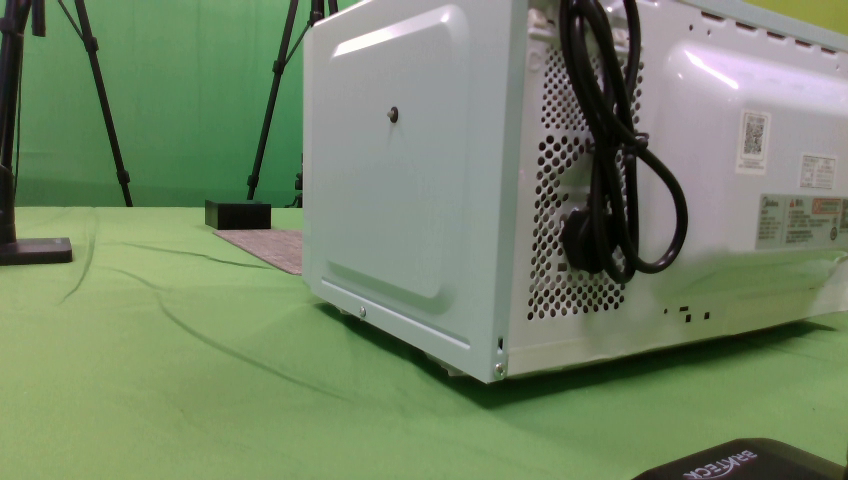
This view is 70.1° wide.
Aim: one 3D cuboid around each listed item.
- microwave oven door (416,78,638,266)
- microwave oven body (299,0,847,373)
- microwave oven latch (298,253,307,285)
[{"bbox_3d":[0.131,-0.105,0.891,0.354,0.243,0.039,9,10,42],"label":"microwave oven door"},{"bbox_3d":[0.151,-0.055,0.543,0.444,0.260,0.324,-2,7,-33],"label":"microwave oven body"},{"bbox_3d":[-0.081,0.027,0.582,0.079,0.029,0.030,-1,7,-32],"label":"microwave oven latch"}]
